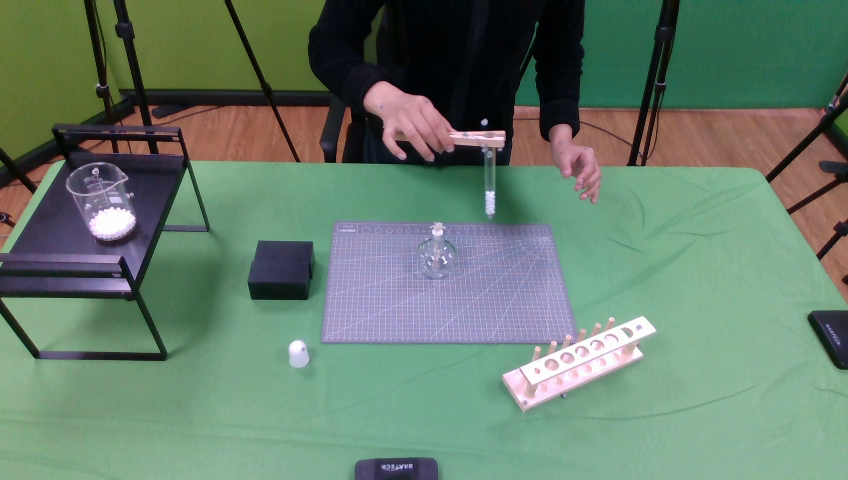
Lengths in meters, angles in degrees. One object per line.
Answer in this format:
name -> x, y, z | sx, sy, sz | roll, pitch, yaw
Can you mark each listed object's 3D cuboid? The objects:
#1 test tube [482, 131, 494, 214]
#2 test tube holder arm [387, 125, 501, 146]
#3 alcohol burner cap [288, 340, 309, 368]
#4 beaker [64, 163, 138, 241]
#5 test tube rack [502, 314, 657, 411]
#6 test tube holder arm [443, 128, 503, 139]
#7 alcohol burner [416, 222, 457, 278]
test tube -> 0.097, -0.099, 0.921 | 0.017, 0.151, 0.017 | -4, 42, 4
test tube holder arm -> 0.027, -0.155, 0.895 | 0.178, 0.015, 0.013 | 9, 50, 20
alcohol burner cap -> -0.207, 0.183, 0.991 | 0.034, 0.048, 0.033 | 3, 47, -3
beaker -> -0.477, -0.055, 0.910 | 0.084, 0.101, 0.073 | -9, 48, -13
test tube rack -> 0.253, 0.186, 0.989 | 0.242, 0.085, 0.066 | -18, 50, -20
test tube holder arm -> 0.071, -0.155, 0.884 | 0.088, 0.015, 0.010 | 1, 49, 14
alcohol burner -> 0.024, 0.013, 1.116 | 0.078, 0.120, 0.077 | 1, 45, -1
